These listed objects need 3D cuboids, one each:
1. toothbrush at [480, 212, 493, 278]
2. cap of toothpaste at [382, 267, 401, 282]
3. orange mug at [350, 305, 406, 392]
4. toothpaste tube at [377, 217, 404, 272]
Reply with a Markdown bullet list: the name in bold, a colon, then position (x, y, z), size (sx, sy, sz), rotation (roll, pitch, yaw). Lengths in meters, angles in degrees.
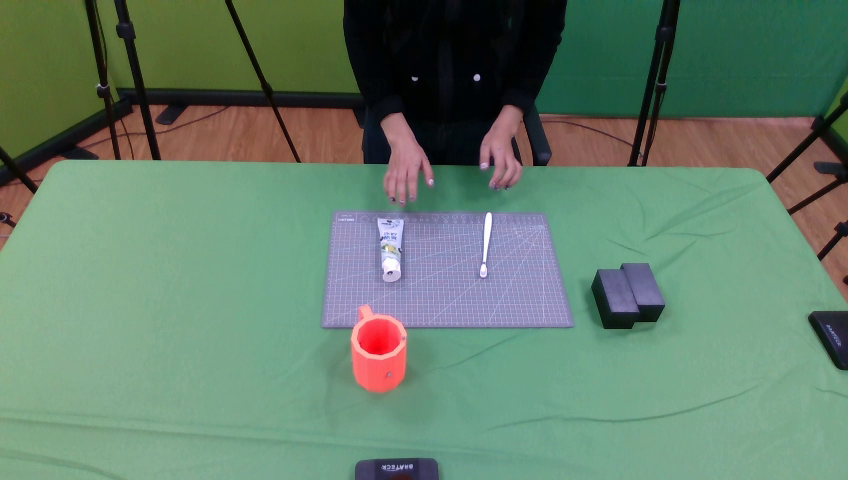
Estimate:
- **toothbrush**: position (0.124, 0.004, 1.203), size (0.014, 0.017, 0.181), rotation (-2, 43, 13)
- **cap of toothpaste**: position (-0.060, 0.063, 1.119), size (0.037, 0.037, 0.011), rotation (-9, 50, -12)
- **orange mug**: position (-0.080, 0.168, 0.978), size (0.083, 0.101, 0.125), rotation (-16, 54, -18)
- **toothpaste tube**: position (-0.063, 0.008, 1.179), size (0.055, 0.034, 0.164), rotation (5, 42, -9)
